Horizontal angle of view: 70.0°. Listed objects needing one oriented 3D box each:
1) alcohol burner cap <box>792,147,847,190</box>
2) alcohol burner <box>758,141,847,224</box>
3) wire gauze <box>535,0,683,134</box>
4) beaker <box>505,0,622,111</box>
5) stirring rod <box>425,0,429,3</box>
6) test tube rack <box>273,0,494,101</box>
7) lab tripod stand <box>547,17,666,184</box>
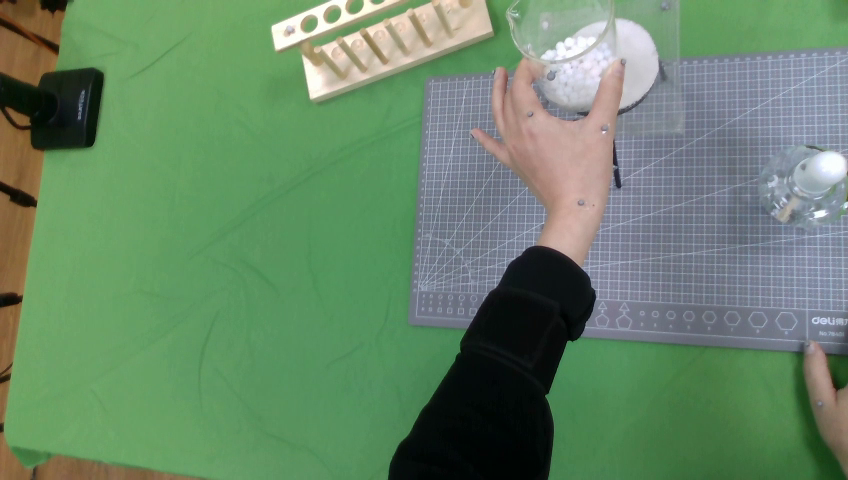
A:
[{"bbox_3d":[0.330,-0.061,0.501,0.034,0.048,0.034,-2,84,15],"label":"alcohol burner cap"},{"bbox_3d":[0.342,-0.055,0.535,0.077,0.120,0.077,-3,80,17],"label":"alcohol burner"},{"bbox_3d":[0.160,-0.152,0.530,0.124,0.011,0.121,1,84,19],"label":"wire gauze"},{"bbox_3d":[0.114,-0.152,0.479,0.083,0.101,0.074,19,86,26],"label":"beaker"},{"bbox_3d":[-0.017,-0.308,0.632,0.006,0.177,0.014,-15,71,10],"label":"stirring rod"},{"bbox_3d":[-0.048,-0.248,0.716,0.242,0.086,0.066,-16,76,15],"label":"test tube rack"},{"bbox_3d":[0.181,-0.141,0.593,0.148,0.132,0.148,-2,81,17],"label":"lab tripod stand"}]
